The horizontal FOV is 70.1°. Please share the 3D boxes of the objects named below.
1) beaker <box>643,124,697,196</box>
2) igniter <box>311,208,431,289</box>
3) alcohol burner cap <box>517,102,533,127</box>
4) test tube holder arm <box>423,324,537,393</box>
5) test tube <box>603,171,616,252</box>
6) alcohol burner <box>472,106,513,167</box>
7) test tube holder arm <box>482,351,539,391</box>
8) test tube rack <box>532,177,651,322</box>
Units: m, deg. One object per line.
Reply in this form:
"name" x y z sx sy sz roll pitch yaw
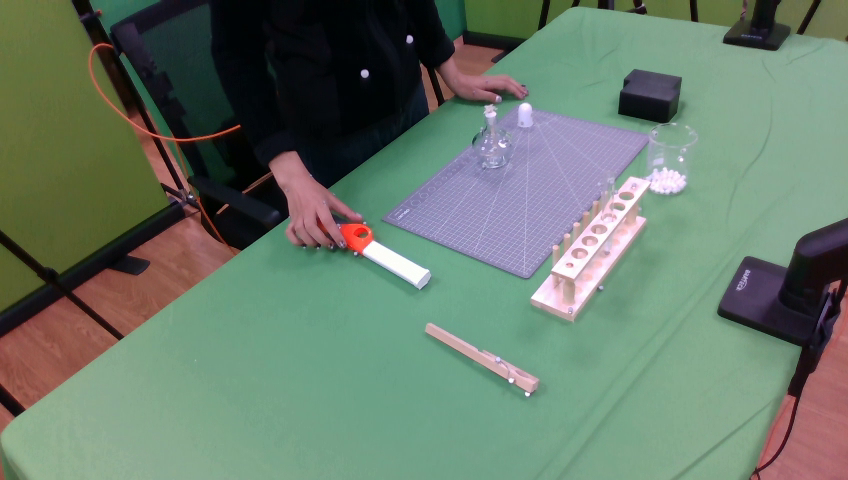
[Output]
"beaker" 0.407 -0.132 1.001 0.084 0.101 0.073 -20 41 -13
"igniter" -0.096 0.008 0.985 0.274 0.025 0.057 28 63 36
"alcohol burner cap" 0.205 -0.255 1.223 0.034 0.048 0.033 -6 40 5
"test tube holder arm" 0.069 0.152 0.789 0.177 0.015 0.013 23 16 33
"test tube" 0.259 -0.036 0.848 0.017 0.151 0.017 -8 46 9
"alcohol burner" 0.125 -0.195 1.111 0.078 0.119 0.077 -5 42 5
"test tube holder arm" 0.107 0.166 0.769 0.087 0.015 0.010 24 16 34
"test tube rack" 0.247 0.002 0.883 0.066 0.085 0.243 22 49 32
